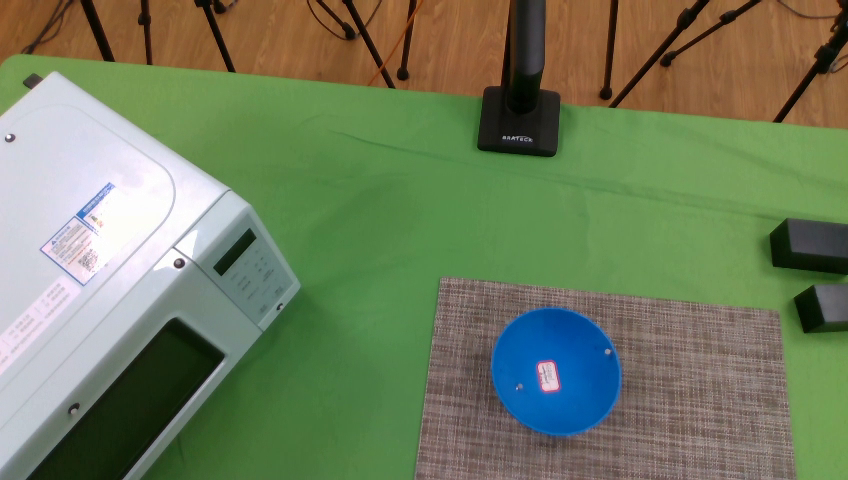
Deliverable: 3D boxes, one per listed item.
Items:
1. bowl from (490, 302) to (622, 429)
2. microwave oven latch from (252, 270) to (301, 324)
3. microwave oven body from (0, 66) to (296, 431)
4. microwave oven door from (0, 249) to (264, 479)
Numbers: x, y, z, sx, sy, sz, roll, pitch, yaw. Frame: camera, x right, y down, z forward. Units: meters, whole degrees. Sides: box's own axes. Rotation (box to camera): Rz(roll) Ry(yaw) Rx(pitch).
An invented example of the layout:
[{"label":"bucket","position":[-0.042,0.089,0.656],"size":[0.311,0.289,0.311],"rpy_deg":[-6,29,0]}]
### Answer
[{"label":"bowl","position":[0.153,0.158,0.736],"size":[0.151,0.077,0.150],"rpy_deg":[-1,66,2]},{"label":"microwave oven latch","position":[-0.196,0.069,0.794],"size":[0.030,0.030,0.079],"rpy_deg":[34,72,15]},{"label":"microwave oven body","position":[-0.423,0.086,0.687],"size":[0.324,0.262,0.440],"rpy_deg":[33,72,15]},{"label":"microwave oven door","position":[-0.329,0.191,0.633],"size":[0.039,0.245,0.355],"rpy_deg":[32,71,16]}]
